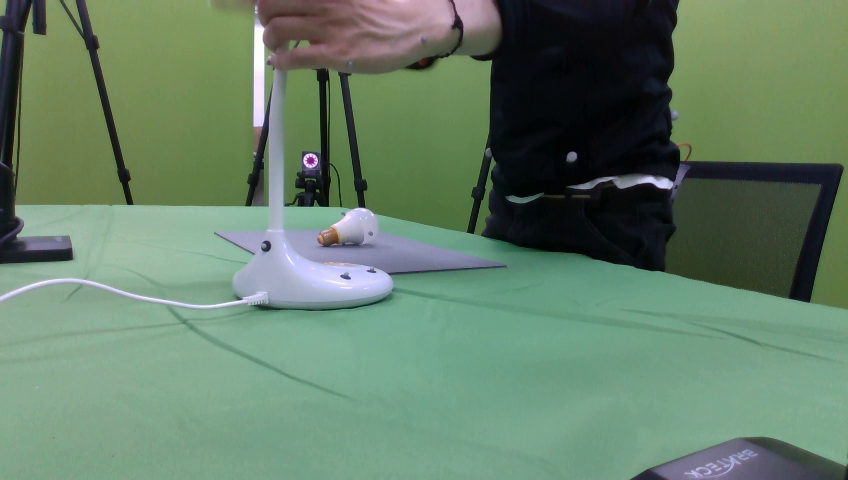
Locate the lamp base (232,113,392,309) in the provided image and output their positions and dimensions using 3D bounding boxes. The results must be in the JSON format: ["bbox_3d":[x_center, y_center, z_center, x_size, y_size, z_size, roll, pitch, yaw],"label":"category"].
[{"bbox_3d":[-0.114,-0.032,0.594,0.160,0.180,0.179,4,10,18],"label":"lamp base"}]

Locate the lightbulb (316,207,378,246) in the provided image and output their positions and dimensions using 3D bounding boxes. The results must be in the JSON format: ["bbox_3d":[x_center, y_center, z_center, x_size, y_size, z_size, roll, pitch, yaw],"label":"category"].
[{"bbox_3d":[-0.123,-0.016,0.967,0.108,0.059,0.059,-21,20,-33],"label":"lightbulb"}]
